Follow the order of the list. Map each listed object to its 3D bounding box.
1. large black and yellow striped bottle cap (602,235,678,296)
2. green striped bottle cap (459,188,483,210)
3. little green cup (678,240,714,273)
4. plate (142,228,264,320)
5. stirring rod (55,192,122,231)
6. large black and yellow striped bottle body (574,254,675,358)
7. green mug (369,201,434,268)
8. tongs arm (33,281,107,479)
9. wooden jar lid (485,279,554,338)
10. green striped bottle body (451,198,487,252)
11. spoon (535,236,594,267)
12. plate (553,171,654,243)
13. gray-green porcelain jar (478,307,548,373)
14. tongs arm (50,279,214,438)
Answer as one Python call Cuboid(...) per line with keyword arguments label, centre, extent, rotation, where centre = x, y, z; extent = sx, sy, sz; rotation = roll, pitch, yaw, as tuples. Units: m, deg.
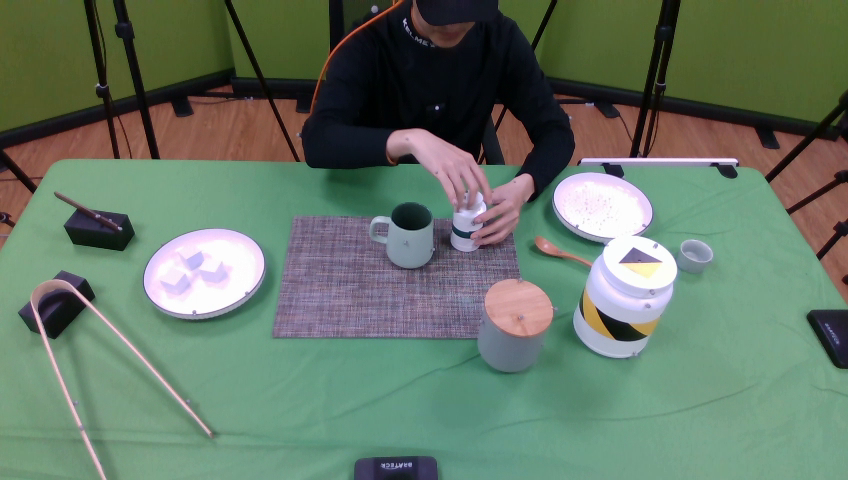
Cuboid(label="large black and yellow striped bottle cap", centre=(0.340, 0.037, 0.956), extent=(0.115, 0.019, 0.114), rotation=(2, 47, -2))
Cuboid(label="green striped bottle cap", centre=(0.089, -0.075, 1.130), extent=(0.044, 0.020, 0.044), rotation=(3, 49, -3))
Cuboid(label="little green cup", centre=(0.531, 0.034, 1.189), extent=(0.061, 0.039, 0.061), rotation=(1, 46, -1))
Cuboid(label="plate", centre=(-0.394, 0.064, 1.095), extent=(0.208, 0.039, 0.206), rotation=(2, 46, -2))
Cuboid(label="stirring rod", centre=(-0.632, -0.055, 1.138), extent=(0.175, 0.014, 0.006), rotation=(24, 50, 19))
Cuboid(label="large black and yellow striped bottle body", centre=(0.335, 0.096, 1.014), extent=(0.131, 0.185, 0.130), rotation=(2, 46, -2))
Cuboid(label="green mug", centre=(-0.042, -0.011, 1.141), extent=(0.125, 0.105, 0.092), rotation=(8, 47, 5))
Cuboid(label="tongs arm", centre=(-0.517, 0.214, 0.910), extent=(0.051, 0.026, 0.383), rotation=(-28, 63, -27))
Cuboid(label="wooden jar lid", centre=(0.147, 0.108, 0.940), extent=(0.108, 0.021, 0.107), rotation=(4, 47, -4))
Cuboid(label="green striped bottle body", centre=(0.087, -0.039, 1.166), extent=(0.063, 0.120, 0.063), rotation=(2, 46, -2))
Cuboid(label="spoon", centre=(0.303, 0.040, 1.178), extent=(0.193, 0.022, 0.041), rotation=(25, 30, 19))
Cuboid(label="plate", centre=(0.374, -0.066, 1.275), extent=(0.209, 0.038, 0.208), rotation=(2, 46, -2))
Cuboid(label="gray-green porcelain jar", centre=(0.144, 0.148, 0.989), extent=(0.106, 0.127, 0.105), rotation=(2, 50, -2))
Cuboid(label="tongs arm", centre=(-0.459, 0.178, 0.949), extent=(0.386, 0.028, 0.028), rotation=(37, 60, 17))
